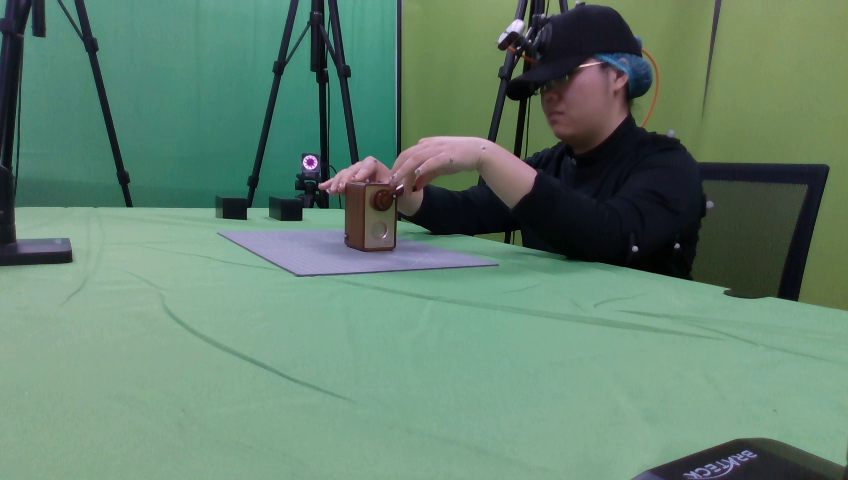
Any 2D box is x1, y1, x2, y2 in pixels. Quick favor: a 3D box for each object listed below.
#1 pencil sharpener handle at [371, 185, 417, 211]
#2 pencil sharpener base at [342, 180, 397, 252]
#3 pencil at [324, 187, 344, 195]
[{"bbox_3d":[-0.044,-0.066,0.917,0.068,0.036,0.030,-30,23,-26],"label":"pencil sharpener handle"},{"bbox_3d":[-0.085,-0.038,0.956,0.062,0.107,0.076,-2,9,-33],"label":"pencil sharpener base"},{"bbox_3d":[-0.126,-0.077,1.021,0.012,0.012,0.193,-2,10,-33],"label":"pencil"}]
